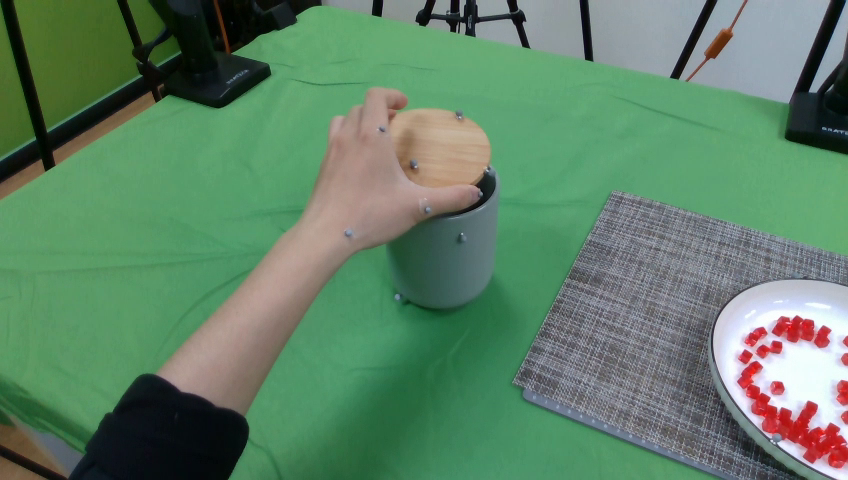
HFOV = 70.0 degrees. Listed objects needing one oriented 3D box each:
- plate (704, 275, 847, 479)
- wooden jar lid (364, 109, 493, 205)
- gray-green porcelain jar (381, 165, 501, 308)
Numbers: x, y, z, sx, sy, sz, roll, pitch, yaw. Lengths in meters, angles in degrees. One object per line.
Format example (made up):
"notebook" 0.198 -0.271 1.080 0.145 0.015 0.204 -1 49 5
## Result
"plate" 0.334 0.115 0.491 0.208 0.039 0.205 -1 43 1
"wooden jar lid" 0.004 -0.069 0.510 0.108 0.021 0.107 0 51 1
"gray-green porcelain jar" 0.016 -0.007 0.570 0.106 0.127 0.105 0 43 1
